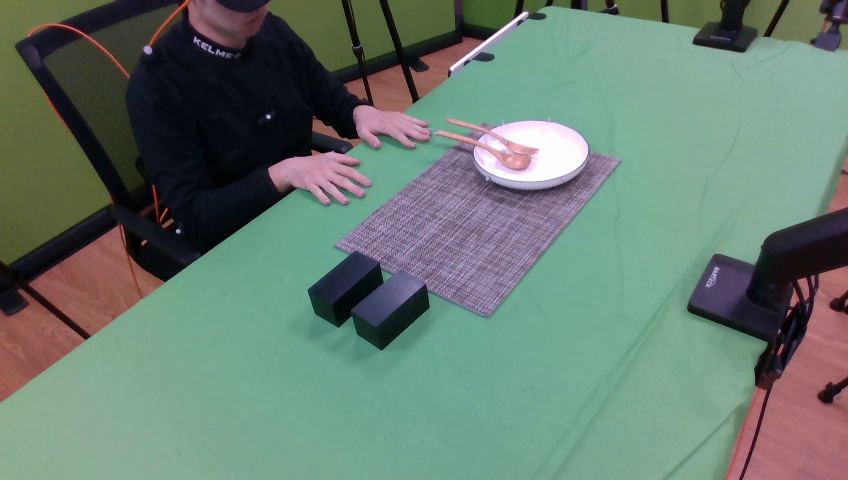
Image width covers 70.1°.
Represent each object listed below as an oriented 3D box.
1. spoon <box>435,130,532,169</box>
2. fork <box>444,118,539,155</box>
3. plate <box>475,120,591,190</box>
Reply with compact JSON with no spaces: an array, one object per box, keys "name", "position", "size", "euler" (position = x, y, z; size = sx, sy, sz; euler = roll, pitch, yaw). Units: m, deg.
[{"name":"spoon","position":[0.107,-0.171,1.112],"size":[0.193,0.022,0.041],"euler":[25,50,15]},{"name":"fork","position":[0.123,-0.198,1.143],"size":[0.206,0.019,0.028],"euler":[27,53,24]},{"name":"plate","position":[0.196,-0.151,1.099],"size":[0.207,0.039,0.206],"euler":[-4,40,4]}]
